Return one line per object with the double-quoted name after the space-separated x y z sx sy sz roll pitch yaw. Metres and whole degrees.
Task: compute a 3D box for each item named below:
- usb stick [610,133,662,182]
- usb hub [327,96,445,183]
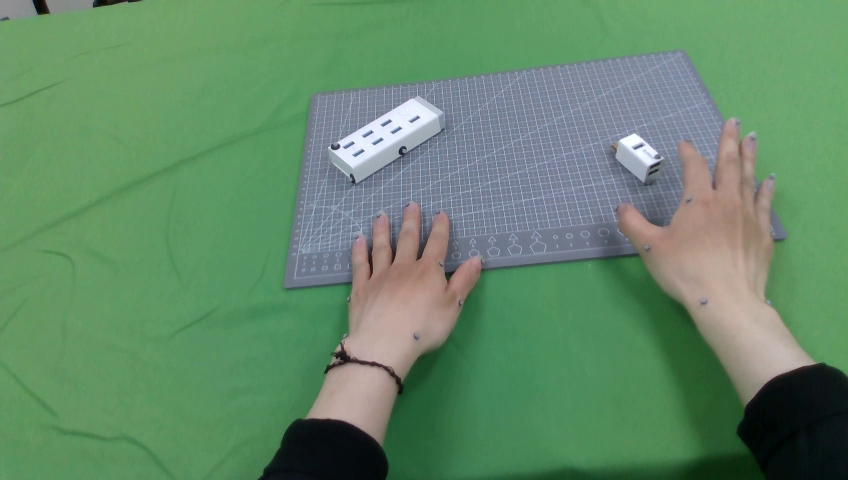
0.206 -0.085 0.598 0.021 0.027 0.058 -24 47 -11 "usb stick"
-0.040 -0.112 0.659 0.125 0.025 0.049 -34 53 -20 "usb hub"
